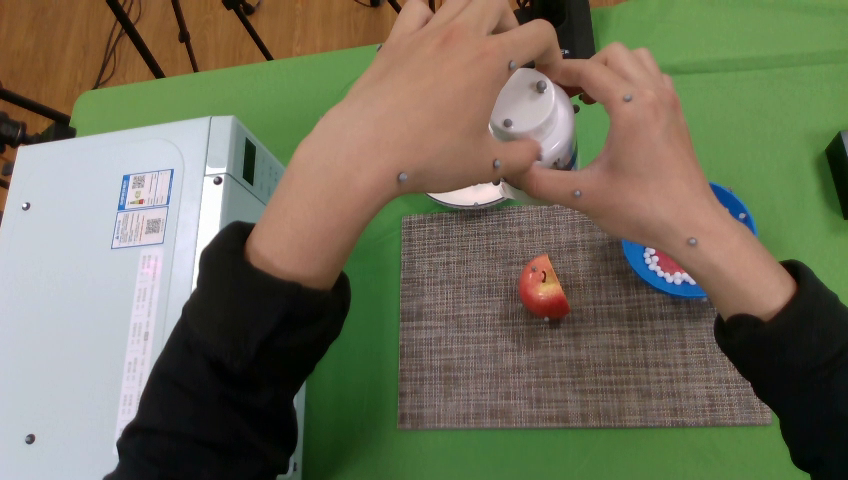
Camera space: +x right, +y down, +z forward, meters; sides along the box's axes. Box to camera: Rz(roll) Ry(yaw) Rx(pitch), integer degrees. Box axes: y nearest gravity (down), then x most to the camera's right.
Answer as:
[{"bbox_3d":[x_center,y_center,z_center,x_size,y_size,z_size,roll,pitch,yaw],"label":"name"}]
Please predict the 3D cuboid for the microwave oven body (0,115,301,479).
[{"bbox_3d":[-0.349,0.112,0.772,0.325,0.262,0.438,-6,70,11],"label":"microwave oven body"}]

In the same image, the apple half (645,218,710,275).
[{"bbox_3d":[0.314,0.005,0.745,0.081,0.033,0.080,-5,68,12],"label":"apple half"}]

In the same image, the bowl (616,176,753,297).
[{"bbox_3d":[0.314,0.005,0.750,0.151,0.077,0.150,-5,70,13],"label":"bowl"}]

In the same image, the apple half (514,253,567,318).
[{"bbox_3d":[0.144,0.064,0.774,0.053,0.075,0.080,-24,71,8],"label":"apple half"}]

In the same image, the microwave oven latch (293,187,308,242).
[{"bbox_3d":[-0.187,-0.037,0.892,0.030,0.030,0.078,-6,70,11],"label":"microwave oven latch"}]

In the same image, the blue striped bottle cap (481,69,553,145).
[{"bbox_3d":[0.057,-0.083,0.377,0.044,0.021,0.044,-4,75,14],"label":"blue striped bottle cap"}]

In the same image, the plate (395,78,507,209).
[{"bbox_3d":[0.062,-0.138,0.889,0.207,0.039,0.206,-4,70,12],"label":"plate"}]

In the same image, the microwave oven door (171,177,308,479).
[{"bbox_3d":[-0.206,0.134,0.725,0.039,0.246,0.353,-6,69,12],"label":"microwave oven door"}]

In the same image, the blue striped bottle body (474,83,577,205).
[{"bbox_3d":[0.073,-0.070,0.428,0.063,0.122,0.063,-4,76,17],"label":"blue striped bottle body"}]
